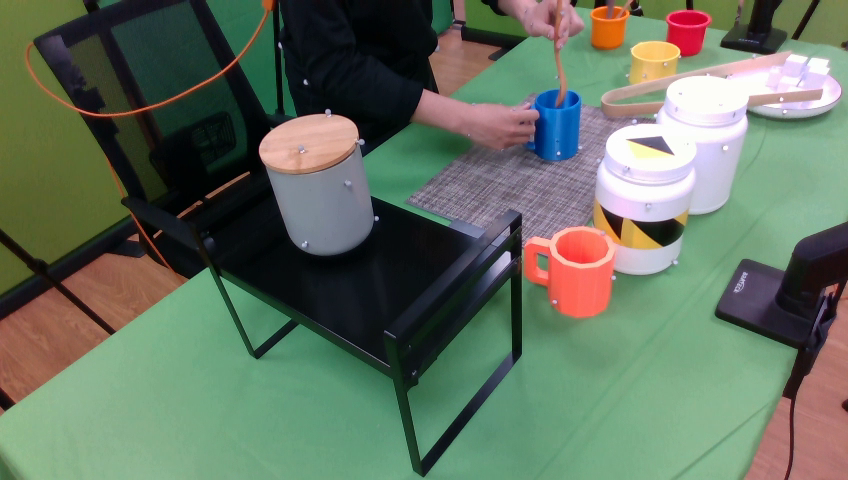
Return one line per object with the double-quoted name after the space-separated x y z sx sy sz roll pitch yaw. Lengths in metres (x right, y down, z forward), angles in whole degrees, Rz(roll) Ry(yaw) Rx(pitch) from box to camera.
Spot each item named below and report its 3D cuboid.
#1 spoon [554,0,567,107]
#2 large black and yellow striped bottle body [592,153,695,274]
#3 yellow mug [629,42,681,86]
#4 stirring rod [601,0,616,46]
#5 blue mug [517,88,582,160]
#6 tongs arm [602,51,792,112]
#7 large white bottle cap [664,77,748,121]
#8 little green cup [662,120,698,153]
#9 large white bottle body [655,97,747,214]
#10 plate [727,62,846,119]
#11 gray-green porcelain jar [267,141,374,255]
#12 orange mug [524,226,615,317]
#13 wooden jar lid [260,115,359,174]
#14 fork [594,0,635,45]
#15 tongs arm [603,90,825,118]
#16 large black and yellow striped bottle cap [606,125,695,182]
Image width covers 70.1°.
0.230 -0.319 1.031 0.021 0.195 0.041 -2 38 16 "spoon"
0.313 -0.056 0.872 0.131 0.185 0.130 -4 41 4 "large black and yellow striped bottle body"
0.495 -0.389 1.321 0.100 0.064 0.130 -14 40 -7 "yellow mug"
0.452 -0.554 1.464 0.014 0.006 0.176 11 86 15 "stirring rod"
0.232 -0.213 1.121 0.116 0.106 0.082 -7 41 2 "blue mug"
0.552 -0.320 1.224 0.384 0.027 0.050 -10 43 7 "tongs arm"
0.421 -0.212 0.905 0.115 0.018 0.114 -4 40 4 "large white bottle cap"
0.470 -0.191 1.117 0.061 0.039 0.061 -5 40 4 "little green cup"
0.431 -0.148 0.959 0.130 0.185 0.130 -4 41 4 "large white bottle body"
0.709 -0.292 1.197 0.207 0.039 0.206 -4 40 4 "plate"
-0.117 -0.054 0.703 0.106 0.127 0.105 -4 40 4 "gray-green porcelain jar"
0.201 0.039 0.845 0.125 0.101 0.083 18 46 21 "orange mug"
-0.124 -0.101 0.662 0.108 0.021 0.108 -4 41 4 "wooden jar lid"
0.484 -0.552 1.447 0.207 0.019 0.028 -51 47 17 "fork"
0.546 -0.262 1.163 0.386 0.028 0.028 -1 49 18 "tongs arm"
0.305 -0.119 0.816 0.115 0.019 0.114 -5 41 5 "large black and yellow striped bottle cap"
